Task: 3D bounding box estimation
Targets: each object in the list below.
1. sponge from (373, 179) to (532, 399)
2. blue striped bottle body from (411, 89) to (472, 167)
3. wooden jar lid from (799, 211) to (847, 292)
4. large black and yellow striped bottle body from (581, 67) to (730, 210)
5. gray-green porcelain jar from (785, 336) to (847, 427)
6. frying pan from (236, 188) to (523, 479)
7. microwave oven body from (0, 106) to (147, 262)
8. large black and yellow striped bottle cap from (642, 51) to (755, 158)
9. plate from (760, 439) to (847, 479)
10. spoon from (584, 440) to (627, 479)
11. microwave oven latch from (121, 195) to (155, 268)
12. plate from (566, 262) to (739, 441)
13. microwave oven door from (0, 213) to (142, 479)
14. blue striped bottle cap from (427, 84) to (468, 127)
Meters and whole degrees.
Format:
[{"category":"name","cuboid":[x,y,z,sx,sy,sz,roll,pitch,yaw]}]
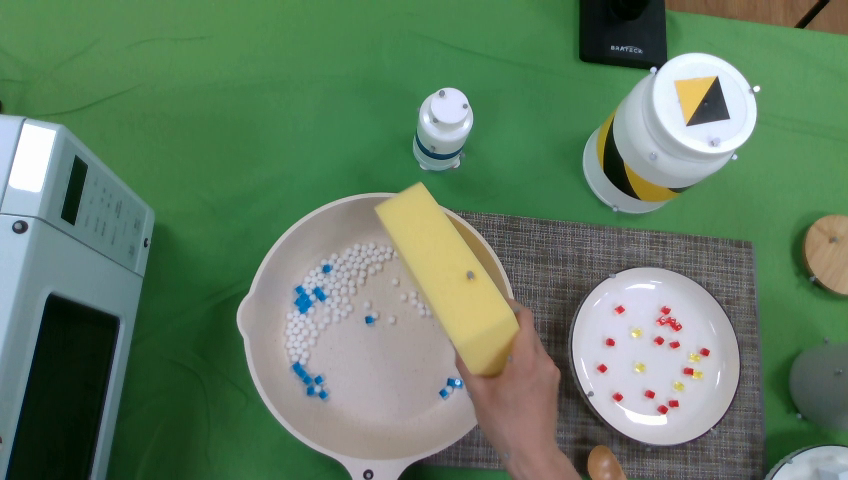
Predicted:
[{"category":"sponge","cuboid":[0.026,0.045,0.627,0.061,0.119,0.204,-29,48,-4]},{"category":"blue striped bottle body","cuboid":[0.021,-0.136,0.716,0.063,0.121,0.063,2,76,-6]},{"category":"wooden jar lid","cuboid":[0.542,0.016,0.796,0.108,0.021,0.108,1,78,-6]},{"category":"large black and yellow striped bottle body","cuboid":[0.276,-0.121,0.712,0.131,0.184,0.130,2,76,-6]},{"category":"gray-green porcelain jar","cuboid":[0.499,0.164,0.701,0.106,0.127,0.105,2,76,-6]},{"category":"frying pan","cuboid":[-0.052,0.186,0.638,0.307,0.103,0.484,4,68,-3]},{"category":"microwave oven body","cuboid":[-0.471,0.122,0.521,0.326,0.261,0.439,6,77,-6]},{"category":"large black and yellow striped bottle cap","cuboid":[0.285,-0.142,0.629,0.115,0.019,0.114,2,75,-6]},{"category":"plate","cuboid":[0.474,0.338,0.703,0.208,0.039,0.206,2,76,-6]},{"category":"spoon","cuboid":[0.250,0.305,0.689,0.193,0.022,0.041,46,59,3]},{"category":"microwave oven latch","cuboid":[-0.320,-0.011,0.669,0.030,0.029,0.079,9,77,-5]},{"category":"plate","cuboid":[0.267,0.130,0.723,0.209,0.038,0.208,1,77,-6]},{"category":"microwave oven door","cuboid":[-0.330,0.177,0.519,0.039,0.244,0.354,6,76,-5]},{"category":"blue striped bottle cap","cuboid":[0.026,-0.148,0.666,0.044,0.021,0.044,2,74,-5]}]
